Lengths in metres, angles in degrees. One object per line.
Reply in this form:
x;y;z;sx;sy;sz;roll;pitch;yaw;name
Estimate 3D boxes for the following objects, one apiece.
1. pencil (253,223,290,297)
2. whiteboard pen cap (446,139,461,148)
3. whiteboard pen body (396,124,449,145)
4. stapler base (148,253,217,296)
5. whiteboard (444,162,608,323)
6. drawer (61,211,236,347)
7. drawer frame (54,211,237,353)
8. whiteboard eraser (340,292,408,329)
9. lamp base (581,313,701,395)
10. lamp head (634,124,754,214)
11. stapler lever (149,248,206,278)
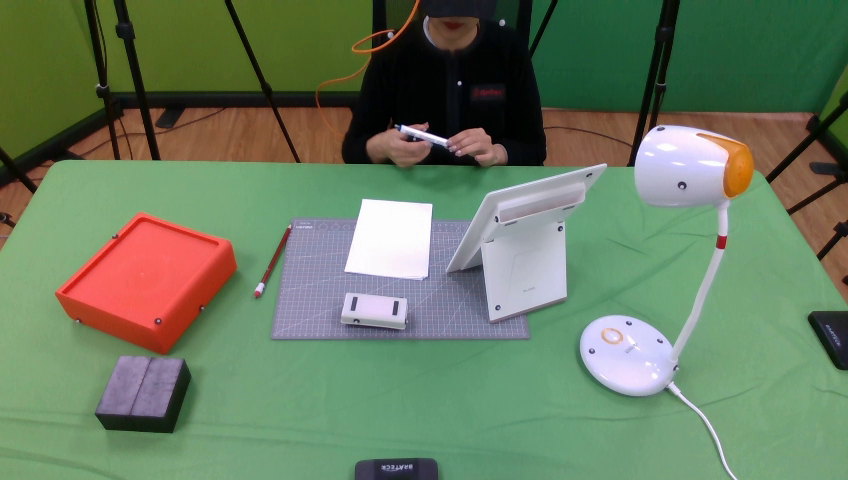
-0.286;0.033;1.150;0.012;0.012;0.193;9;46;4;pencil
0.062;-0.208;1.307;0.033;0.018;0.018;8;46;0;whiteboard pen cap
0.007;-0.222;1.294;0.141;0.017;0.017;15;44;-15;whiteboard pen body
-0.443;0.059;1.109;0.130;0.024;0.041;24;51;11;stapler base
0.186;0.026;1.028;0.217;0.306;0.143;-14;68;-18;whiteboard
-0.473;0.064;1.060;0.194;0.073;0.211;18;48;11;drawer
-0.473;0.067;1.055;0.201;0.083;0.212;17;48;11;drawer frame
-0.087;0.125;1.052;0.113;0.042;0.055;5;45;1;whiteboard eraser
0.361;0.144;0.973;0.178;0.181;0.160;34;53;23;lamp base
0.351;-0.089;0.775;0.112;0.113;0.122;-30;30;-28;lamp head
-0.443;0.037;1.084;0.118;0.040;0.027;19;49;17;stapler lever
